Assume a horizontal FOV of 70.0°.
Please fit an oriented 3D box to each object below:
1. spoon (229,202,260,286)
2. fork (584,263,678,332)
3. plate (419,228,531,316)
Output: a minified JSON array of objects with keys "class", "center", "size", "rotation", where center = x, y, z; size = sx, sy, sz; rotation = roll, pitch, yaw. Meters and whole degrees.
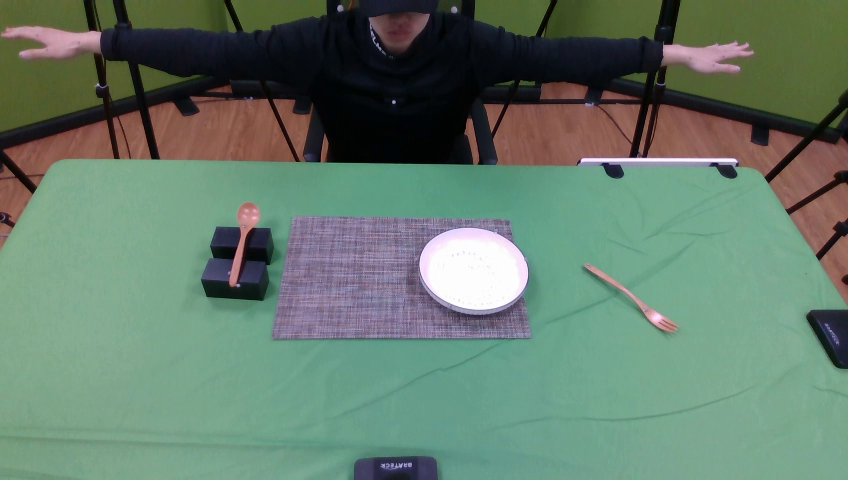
[{"class":"spoon","center":[-0.332,0.005,1.100],"size":[0.042,0.022,0.192],"rotation":[17,43,-19]},{"class":"fork","center":[0.380,0.103,1.130],"size":[0.028,0.019,0.206],"rotation":[-34,58,-24]},{"class":"plate","center":[0.093,0.062,1.131],"size":[0.208,0.039,0.206],"rotation":[2,46,-2]}]
